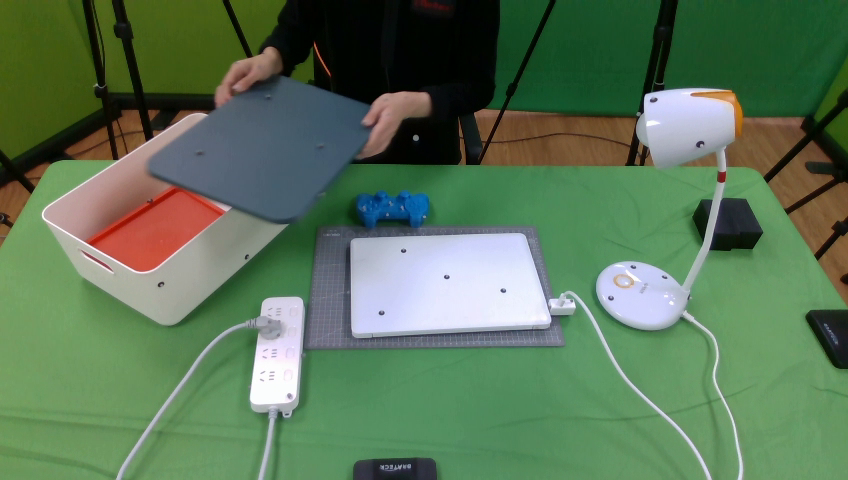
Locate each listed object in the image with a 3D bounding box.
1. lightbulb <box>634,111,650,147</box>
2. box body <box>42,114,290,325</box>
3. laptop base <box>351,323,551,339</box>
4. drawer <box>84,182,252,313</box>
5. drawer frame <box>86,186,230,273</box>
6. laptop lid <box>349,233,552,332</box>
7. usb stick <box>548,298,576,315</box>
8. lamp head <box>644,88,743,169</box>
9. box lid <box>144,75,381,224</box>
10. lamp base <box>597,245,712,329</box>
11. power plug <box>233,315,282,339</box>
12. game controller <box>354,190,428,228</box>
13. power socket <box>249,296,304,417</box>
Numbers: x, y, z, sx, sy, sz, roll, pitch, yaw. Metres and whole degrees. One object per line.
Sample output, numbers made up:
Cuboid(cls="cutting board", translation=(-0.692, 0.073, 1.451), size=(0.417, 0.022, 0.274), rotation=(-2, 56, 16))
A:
Cuboid(cls="lightbulb", translation=(0.348, -0.163, 0.852), size=(0.059, 0.060, 0.107), rotation=(-36, 19, -32))
Cuboid(cls="box body", translation=(-0.437, -0.046, 1.110), size=(0.253, 0.161, 0.363), rotation=(24, 49, 19))
Cuboid(cls="laptop base", translation=(0.040, 0.081, 1.125), size=(0.355, 0.023, 0.234), rotation=(-2, 43, -6))
Cuboid(cls="drawer", translation=(-0.458, 0.007, 1.100), size=(0.194, 0.073, 0.211), rotation=(30, 50, 21))
Cuboid(cls="drawer frame", translation=(-0.453, 0.010, 1.100), size=(0.201, 0.083, 0.213), rotation=(28, 54, 23))
Cuboid(cls="laptop lid", translation=(0.040, 0.071, 1.118), size=(0.357, 0.013, 0.240), rotation=(-1, 44, -5))
Cuboid(cls="usb stick", translation=(0.240, 0.120, 1.086), size=(0.059, 0.027, 0.021), rotation=(-2, 51, -2))
Cuboid(cls="lamp head", translation=(0.380, -0.161, 0.851), size=(0.122, 0.113, 0.112), rotation=(-4, 42, 25))
Cuboid(cls="box lid", translation=(-0.256, -0.169, 1.029), size=(0.263, 0.015, 0.370), rotation=(20, 43, 10))
Cuboid(cls="lamp base", translation=(0.418, 0.051, 1.071), size=(0.179, 0.181, 0.160), rotation=(22, 49, 13))
Cuboid(cls="power plug", translation=(-0.271, 0.144, 0.999), size=(0.072, 0.053, 0.035), rotation=(6, 47, 3))
Cuboid(cls="game controller", translation=(-0.066, -0.072, 1.244), size=(0.155, 0.052, 0.096), rotation=(0, 47, -4))
Cuboid(cls="power socket", translation=(-0.240, 0.182, 0.996), size=(0.072, 0.033, 0.225), rotation=(-2, 47, -5))
